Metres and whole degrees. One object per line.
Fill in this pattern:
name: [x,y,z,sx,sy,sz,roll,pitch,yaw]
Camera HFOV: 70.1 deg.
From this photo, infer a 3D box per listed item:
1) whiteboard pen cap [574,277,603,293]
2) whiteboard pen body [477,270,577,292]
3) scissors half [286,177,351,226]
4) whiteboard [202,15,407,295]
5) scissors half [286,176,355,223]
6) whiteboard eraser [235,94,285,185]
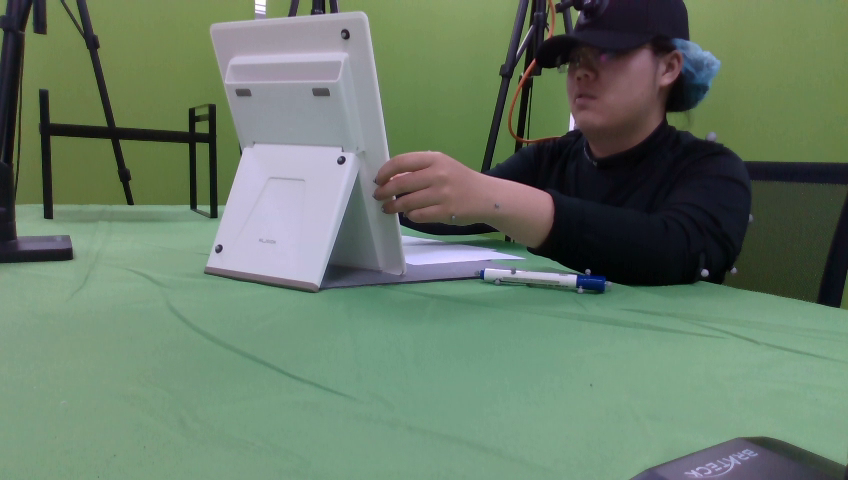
whiteboard pen cap: [0.186,0.051,0.687,0.033,0.018,0.018,5,8,17]
whiteboard pen body: [0.131,0.048,0.706,0.140,0.017,0.017,5,8,18]
scissors half: [-0.232,-0.085,1.317,0.175,0.013,0.040,37,18,5]
whiteboard: [-0.166,-0.073,0.668,0.216,0.305,0.144,7,30,28]
scissors half: [-0.229,-0.091,1.337,0.175,0.013,0.040,33,13,-13]
whiteboard eraser: [-0.212,-0.127,0.776,0.055,0.112,0.042,19,35,24]
